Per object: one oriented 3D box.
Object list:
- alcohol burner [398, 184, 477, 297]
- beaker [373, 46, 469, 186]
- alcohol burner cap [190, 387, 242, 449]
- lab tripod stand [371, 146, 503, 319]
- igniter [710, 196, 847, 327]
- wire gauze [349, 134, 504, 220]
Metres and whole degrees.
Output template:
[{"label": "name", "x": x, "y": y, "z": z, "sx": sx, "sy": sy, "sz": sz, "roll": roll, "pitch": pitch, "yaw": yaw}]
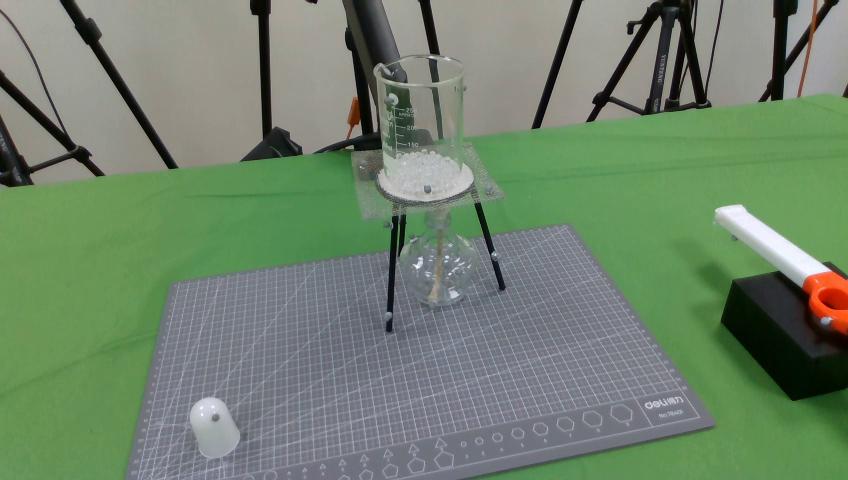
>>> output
[{"label": "alcohol burner", "x": 0.013, "y": -0.003, "z": 0.585, "sx": 0.078, "sy": 0.120, "sz": 0.077, "roll": -1, "pitch": 37, "yaw": 1}, {"label": "beaker", "x": -0.005, "y": -0.104, "z": 0.512, "sx": 0.083, "sy": 0.101, "sz": 0.074, "roll": 29, "pitch": 45, "yaw": 36}, {"label": "alcohol burner cap", "x": -0.162, "y": 0.134, "z": 0.468, "sx": 0.034, "sy": 0.048, "sz": 0.033, "roll": -1, "pitch": 36, "yaw": 1}, {"label": "lab tripod stand", "x": 0.005, "y": -0.013, "z": 0.582, "sx": 0.148, "sy": 0.132, "sz": 0.147, "roll": -1, "pitch": 34, "yaw": 1}, {"label": "igniter", "x": 0.337, "y": 0.033, "z": 0.511, "sx": 0.057, "sy": 0.025, "sz": 0.273, "roll": -10, "pitch": 33, "yaw": -8}, {"label": "wire gauze", "x": -0.003, "y": -0.064, "z": 0.540, "sx": 0.121, "sy": 0.011, "sz": 0.123, "roll": -9, "pitch": 38, "yaw": -7}]
